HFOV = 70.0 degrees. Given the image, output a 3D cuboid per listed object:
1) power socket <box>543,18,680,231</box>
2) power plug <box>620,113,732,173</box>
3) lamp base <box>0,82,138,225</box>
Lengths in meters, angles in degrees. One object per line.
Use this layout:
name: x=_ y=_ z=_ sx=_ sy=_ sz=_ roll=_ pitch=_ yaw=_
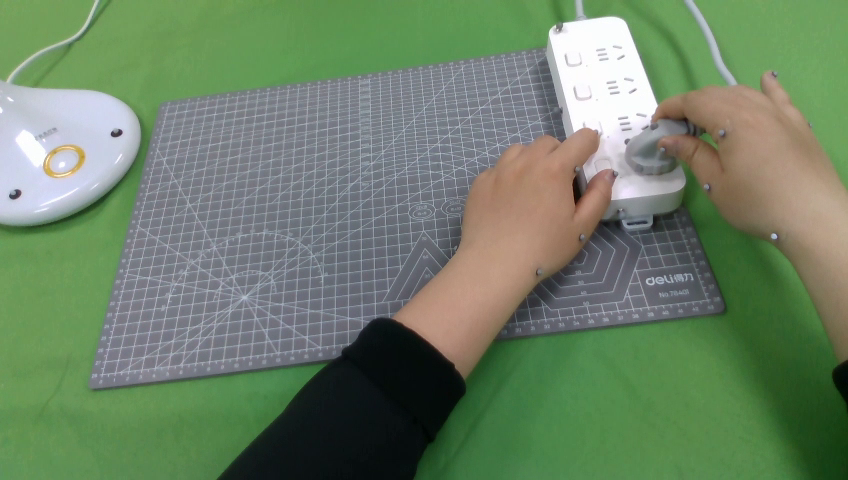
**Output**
power socket: x=0.149 y=-0.108 z=0.504 sx=0.072 sy=0.033 sz=0.224 roll=-5 pitch=55 yaw=3
power plug: x=0.181 y=-0.063 z=0.439 sx=0.072 sy=0.053 sz=0.035 roll=4 pitch=54 yaw=13
lamp base: x=-0.365 y=-0.128 z=0.505 sx=0.178 sy=0.182 sz=0.160 roll=26 pitch=63 yaw=26
